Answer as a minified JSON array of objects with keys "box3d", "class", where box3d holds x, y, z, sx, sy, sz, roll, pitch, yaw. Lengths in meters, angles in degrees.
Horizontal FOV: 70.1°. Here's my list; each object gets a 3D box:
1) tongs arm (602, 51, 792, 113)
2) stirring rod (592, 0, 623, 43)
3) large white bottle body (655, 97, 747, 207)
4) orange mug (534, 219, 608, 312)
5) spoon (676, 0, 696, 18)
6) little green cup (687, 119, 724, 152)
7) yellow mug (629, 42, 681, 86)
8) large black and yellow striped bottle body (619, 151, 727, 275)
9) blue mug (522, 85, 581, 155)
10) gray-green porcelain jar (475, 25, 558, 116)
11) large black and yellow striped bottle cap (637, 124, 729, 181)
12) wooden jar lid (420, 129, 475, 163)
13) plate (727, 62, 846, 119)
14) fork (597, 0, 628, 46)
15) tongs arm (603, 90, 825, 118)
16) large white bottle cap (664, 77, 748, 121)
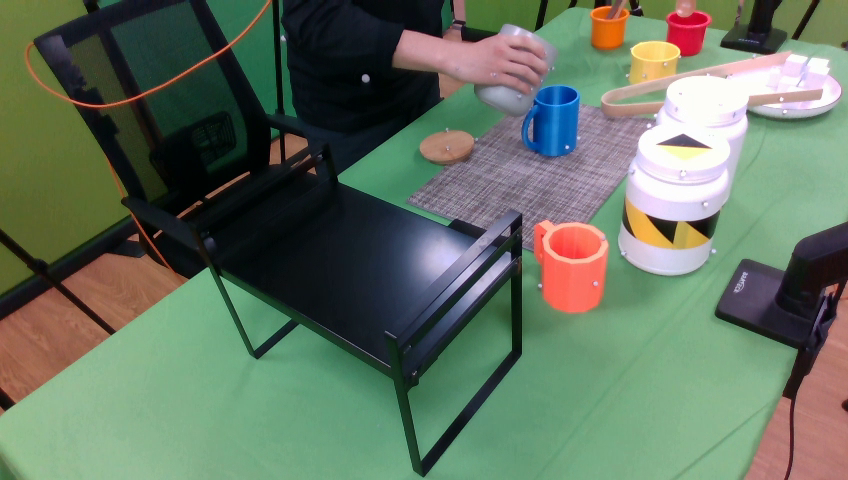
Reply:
[{"box3d":[0.552,-0.320,1.224,0.384,0.027,0.050,-10,43,7],"class":"tongs arm"},{"box3d":[0.460,-0.558,1.461,0.014,0.176,0.006,35,11,23],"class":"stirring rod"},{"box3d":[0.431,-0.148,0.959,0.130,0.185,0.130,-4,41,4],"class":"large white bottle body"},{"box3d":[0.200,0.027,0.858,0.084,0.101,0.125,-24,48,-18],"class":"orange mug"},{"box3d":[0.582,-0.588,1.327,0.041,0.194,0.022,6,18,26],"class":"spoon"},{"box3d":[0.514,-0.191,1.109,0.061,0.039,0.061,-5,40,5],"class":"little green cup"},{"box3d":[0.495,-0.389,1.321,0.100,0.064,0.130,-14,40,-6],"class":"yellow mug"},{"box3d":[0.354,-0.056,0.865,0.131,0.185,0.130,-4,41,4],"class":"large black and yellow striped bottle body"},{"box3d":[0.233,-0.218,1.127,0.117,0.106,0.081,-22,43,-16],"class":"blue mug"},{"box3d":[0.154,-0.285,1.037,0.106,0.126,0.105,26,11,-5],"class":"gray-green porcelain jar"},{"box3d":[0.346,-0.119,0.810,0.115,0.019,0.114,-4,41,4],"class":"large black and yellow striped bottle cap"},{"box3d":[0.047,-0.183,1.184,0.108,0.021,0.108,-6,37,5],"class":"wooden jar lid"},{"box3d":[0.709,-0.292,1.197,0.207,0.039,0.206,-4,40,4],"class":"plate"},{"box3d":[0.479,-0.558,1.455,0.028,0.019,0.207,35,100,39],"class":"fork"},{"box3d":[0.546,-0.262,1.163,0.386,0.028,0.028,-1,49,18],"class":"tongs arm"},{"box3d":[0.421,-0.212,0.905,0.115,0.018,0.114,-4,40,4],"class":"large white bottle cap"}]
